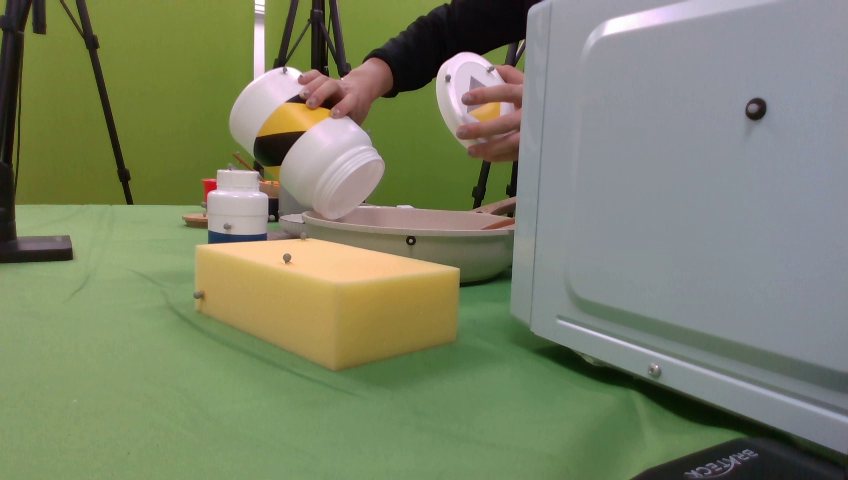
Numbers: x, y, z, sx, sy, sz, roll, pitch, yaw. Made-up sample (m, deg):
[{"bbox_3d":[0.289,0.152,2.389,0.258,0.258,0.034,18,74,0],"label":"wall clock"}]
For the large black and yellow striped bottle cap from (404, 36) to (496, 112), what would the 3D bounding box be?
[{"bbox_3d":[0.030,-0.185,0.683,0.115,0.019,0.115,-32,-5,-3],"label":"large black and yellow striped bottle cap"}]

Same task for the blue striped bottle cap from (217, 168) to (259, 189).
[{"bbox_3d":[-0.202,-0.067,0.657,0.044,0.020,0.044,1,11,0],"label":"blue striped bottle cap"}]

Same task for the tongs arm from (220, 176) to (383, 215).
[{"bbox_3d":[-0.285,-0.105,1.445,0.389,0.027,0.028,10,-4,-23],"label":"tongs arm"}]

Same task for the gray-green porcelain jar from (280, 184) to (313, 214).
[{"bbox_3d":[-0.238,-0.092,1.221,0.106,0.126,0.106,2,7,0],"label":"gray-green porcelain jar"}]

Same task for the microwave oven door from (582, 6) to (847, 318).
[{"bbox_3d":[0.295,-0.067,0.569,0.358,0.243,0.039,-3,8,-31],"label":"microwave oven door"}]

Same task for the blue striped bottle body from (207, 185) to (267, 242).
[{"bbox_3d":[-0.204,-0.016,0.663,0.063,0.120,0.063,2,7,0],"label":"blue striped bottle body"}]

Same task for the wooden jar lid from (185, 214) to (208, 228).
[{"bbox_3d":[-0.404,-0.037,1.169,0.108,0.020,0.108,3,7,0],"label":"wooden jar lid"}]

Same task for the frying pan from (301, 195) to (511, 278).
[{"bbox_3d":[0.050,-0.028,0.864,0.305,0.102,0.490,8,18,35],"label":"frying pan"}]

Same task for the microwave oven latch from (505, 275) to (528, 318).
[{"bbox_3d":[0.100,0.042,0.473,0.079,0.029,0.030,-2,8,-31],"label":"microwave oven latch"}]

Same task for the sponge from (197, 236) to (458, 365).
[{"bbox_3d":[-0.087,0.039,0.500,0.206,0.061,0.119,8,10,44],"label":"sponge"}]

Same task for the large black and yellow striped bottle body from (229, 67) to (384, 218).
[{"bbox_3d":[-0.156,-0.129,0.819,0.183,0.130,0.131,43,20,13],"label":"large black and yellow striped bottle body"}]

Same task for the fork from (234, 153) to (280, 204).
[{"bbox_3d":[-0.396,-0.143,1.486,0.028,0.018,0.208,19,-26,44],"label":"fork"}]

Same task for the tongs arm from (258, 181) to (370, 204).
[{"bbox_3d":[-0.241,-0.095,1.373,0.387,0.026,0.050,9,0,-37],"label":"tongs arm"}]

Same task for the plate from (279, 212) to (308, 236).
[{"bbox_3d":[-0.139,-0.022,1.021,0.209,0.038,0.209,2,8,0],"label":"plate"}]

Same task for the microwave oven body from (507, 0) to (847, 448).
[{"bbox_3d":[0.331,-0.042,0.425,0.444,0.260,0.324,-2,8,-31],"label":"microwave oven body"}]

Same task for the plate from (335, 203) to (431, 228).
[{"bbox_3d":[-0.089,-0.053,1.309,0.208,0.039,0.207,2,8,0],"label":"plate"}]

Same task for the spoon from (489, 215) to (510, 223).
[{"bbox_3d":[0.078,-0.010,0.796,0.193,0.021,0.042,-26,-8,12],"label":"spoon"}]
